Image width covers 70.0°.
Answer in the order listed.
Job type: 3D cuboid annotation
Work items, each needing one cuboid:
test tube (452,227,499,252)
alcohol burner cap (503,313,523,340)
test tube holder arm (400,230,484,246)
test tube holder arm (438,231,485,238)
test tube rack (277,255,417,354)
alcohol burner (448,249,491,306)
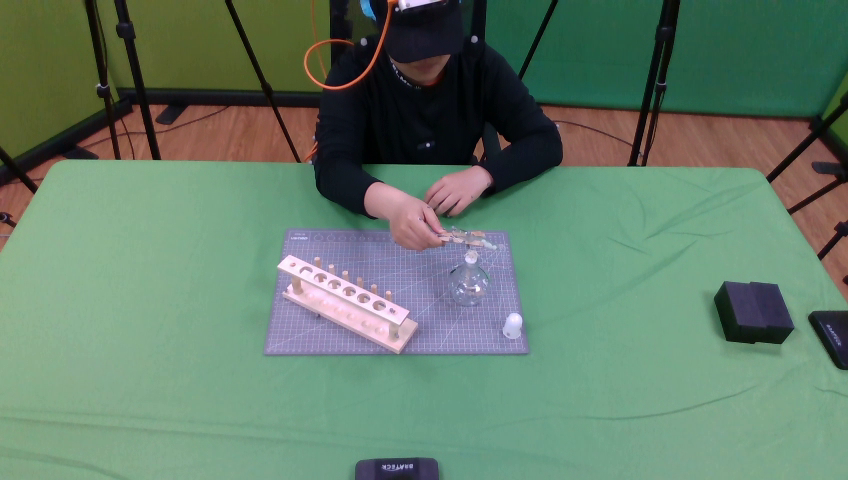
[{"bbox_3d":[0.088,0.001,1.009,0.017,0.151,0.017,-7,76,30],"label":"test tube"},{"bbox_3d":[0.156,0.148,1.051,0.034,0.048,0.033,1,45,-1],"label":"alcohol burner cap"},{"bbox_3d":[0.026,-0.004,1.036,0.178,0.015,0.013,6,78,40],"label":"test tube holder arm"},{"bbox_3d":[0.062,-0.007,1.008,0.087,0.015,0.010,-3,73,39],"label":"test tube holder arm"},{"bbox_3d":[-0.131,0.099,1.045,0.241,0.085,0.066,23,49,17],"label":"test tube rack"},{"bbox_3d":[0.081,0.062,1.078,0.078,0.120,0.077,1,45,-1],"label":"alcohol burner"}]
